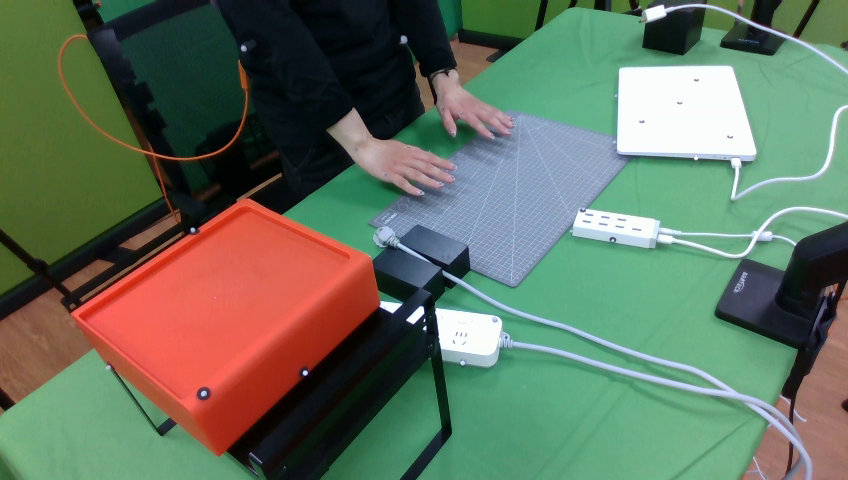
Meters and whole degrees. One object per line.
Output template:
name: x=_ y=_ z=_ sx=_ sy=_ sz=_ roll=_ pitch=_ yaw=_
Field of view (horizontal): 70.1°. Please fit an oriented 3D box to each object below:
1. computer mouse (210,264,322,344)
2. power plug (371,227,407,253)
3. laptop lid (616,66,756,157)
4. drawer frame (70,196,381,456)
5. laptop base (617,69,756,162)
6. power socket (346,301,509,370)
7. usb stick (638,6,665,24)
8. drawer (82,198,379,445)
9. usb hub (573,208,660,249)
computer mouse: x=-0.164 y=0.062 z=0.624 sx=0.116 sy=0.041 sz=0.063 roll=22 pitch=45 yaw=27
power plug: x=-0.054 y=0.009 z=0.929 sx=0.035 sy=0.053 sz=0.072 roll=-34 pitch=64 yaw=-5
laptop lid: x=0.503 y=-0.265 z=1.196 sx=0.241 sy=0.013 sz=0.356 roll=5 pitch=41 yaw=16
drawer frame: x=-0.186 y=0.068 z=0.597 sx=0.200 sy=0.083 sz=0.214 roll=23 pitch=49 yaw=30
laptop base: x=0.507 y=-0.256 z=1.204 sx=0.235 sy=0.023 sz=0.353 roll=3 pitch=41 yaw=15
power socket: x=-0.001 y=0.126 z=0.817 sx=0.226 sy=0.033 sz=0.072 roll=7 pitch=43 yaw=15
usb stick: x=0.503 y=-0.499 z=1.347 sx=0.059 sy=0.027 sz=0.021 roll=-21 pitch=5 yaw=-1
drawer: x=-0.185 y=0.066 z=0.600 sx=0.193 sy=0.073 sz=0.212 roll=24 pitch=50 yaw=31
usb hub: x=0.302 y=-0.019 z=0.949 sx=0.124 sy=0.025 sz=0.049 roll=11 pitch=43 yaw=20
